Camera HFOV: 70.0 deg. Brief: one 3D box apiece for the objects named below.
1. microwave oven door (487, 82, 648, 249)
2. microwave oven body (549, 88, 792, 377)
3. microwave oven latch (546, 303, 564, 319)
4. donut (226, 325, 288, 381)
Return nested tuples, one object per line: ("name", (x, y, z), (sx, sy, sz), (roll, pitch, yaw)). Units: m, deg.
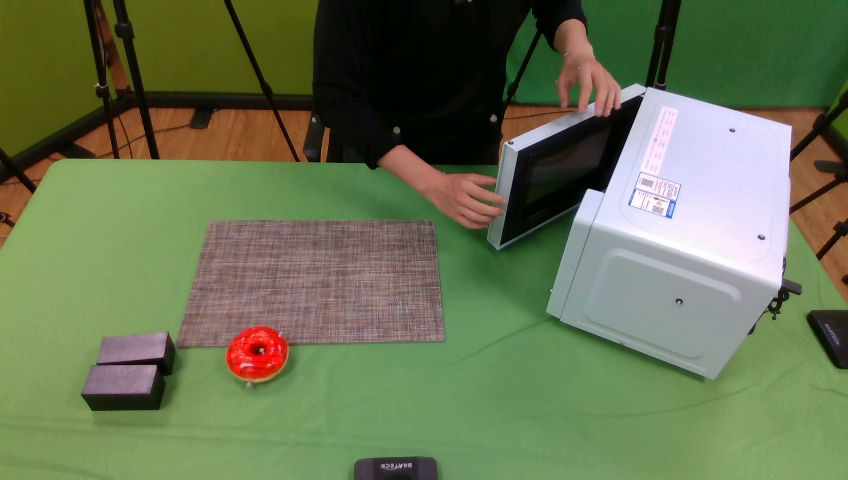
("microwave oven door", (0.281, -0.147, 1.181), (0.356, 0.245, 0.039), (-27, 53, -26))
("microwave oven body", (0.456, -0.028, 1.088), (0.325, 0.261, 0.440), (20, 47, 16))
("microwave oven latch", (0.242, 0.102, 1.081), (0.030, 0.029, 0.079), (21, 48, 17))
("donut", (-0.270, 0.182, 0.984), (0.099, 0.048, 0.098), (5, 49, -5))
